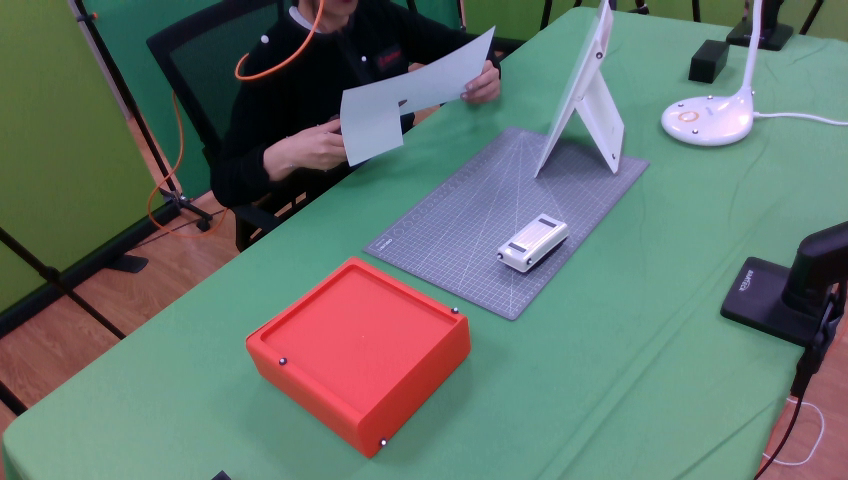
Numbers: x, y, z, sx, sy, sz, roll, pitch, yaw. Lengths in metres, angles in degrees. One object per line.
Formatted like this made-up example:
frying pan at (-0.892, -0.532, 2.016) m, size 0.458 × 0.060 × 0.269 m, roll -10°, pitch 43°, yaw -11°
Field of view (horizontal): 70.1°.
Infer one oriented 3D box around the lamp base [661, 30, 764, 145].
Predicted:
lamp base at (0.535, -0.287, 1.096) m, size 0.179 × 0.181 × 0.159 m, roll -10°, pitch 40°, yaw -4°

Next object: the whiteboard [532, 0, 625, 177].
whiteboard at (0.320, -0.259, 1.050) m, size 0.144 × 0.306 × 0.217 m, roll 21°, pitch 45°, yaw 5°

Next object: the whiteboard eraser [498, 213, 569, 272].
whiteboard eraser at (0.168, 0.006, 0.923) m, size 0.113 × 0.042 × 0.055 m, roll -36°, pitch 48°, yaw -28°

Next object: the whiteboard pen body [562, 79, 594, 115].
whiteboard pen body at (0.328, -0.306, 1.277) m, size 0.017 × 0.017 × 0.141 m, roll 20°, pitch 52°, yaw 30°

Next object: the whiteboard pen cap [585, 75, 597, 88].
whiteboard pen cap at (0.362, -0.343, 1.310) m, size 0.018 × 0.018 × 0.033 m, roll 19°, pitch 54°, yaw 29°

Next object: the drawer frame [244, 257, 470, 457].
drawer frame at (-0.084, 0.138, 0.788) m, size 0.212 × 0.083 × 0.202 m, roll 25°, pitch 50°, yaw 33°

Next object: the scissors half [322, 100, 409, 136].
scissors half at (-0.108, -0.229, 1.111) m, size 0.175 × 0.040 × 0.013 m, roll -13°, pitch 12°, yaw 13°

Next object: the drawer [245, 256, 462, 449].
drawer at (-0.089, 0.136, 0.792) m, size 0.210 × 0.073 × 0.195 m, roll 26°, pitch 51°, yaw 34°

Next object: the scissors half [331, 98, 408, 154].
scissors half at (-0.100, -0.211, 1.115) m, size 0.175 × 0.040 × 0.013 m, roll -33°, pitch 12°, yaw 18°
